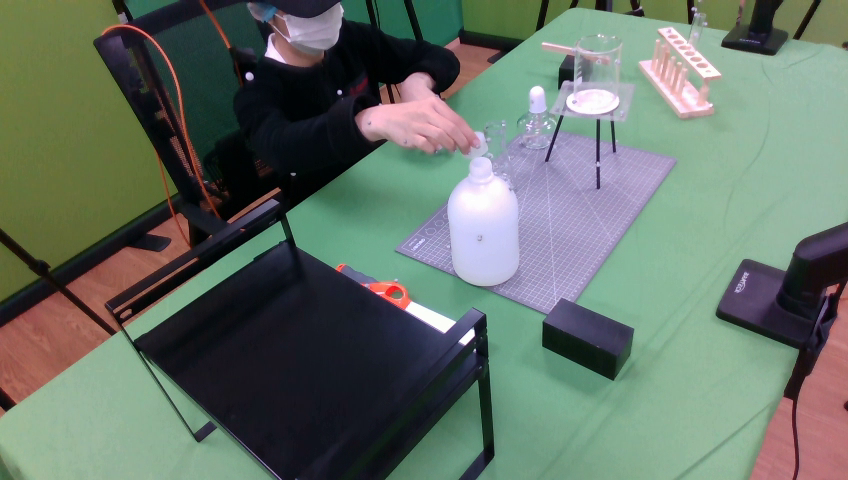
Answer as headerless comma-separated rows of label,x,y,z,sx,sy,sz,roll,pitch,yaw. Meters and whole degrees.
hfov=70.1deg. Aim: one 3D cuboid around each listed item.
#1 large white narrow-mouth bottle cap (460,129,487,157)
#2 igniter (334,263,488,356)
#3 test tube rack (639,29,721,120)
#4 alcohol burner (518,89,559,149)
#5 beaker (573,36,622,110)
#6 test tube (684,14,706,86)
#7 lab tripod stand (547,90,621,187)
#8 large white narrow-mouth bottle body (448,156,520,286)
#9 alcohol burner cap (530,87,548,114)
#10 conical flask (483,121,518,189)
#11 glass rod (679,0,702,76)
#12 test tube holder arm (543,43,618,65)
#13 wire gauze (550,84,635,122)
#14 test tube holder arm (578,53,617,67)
large white narrow-mouth bottle cap,0.065,-0.127,0.791,0.038,0.024,0.037,-4,40,4
igniter,-0.030,0.095,0.872,0.274,0.025,0.057,23,59,31
test tube rack,0.527,-0.351,1.262,0.067,0.085,0.241,-8,40,1
alcohol burner,0.218,-0.235,1.149,0.078,0.119,0.077,-5,43,5
beaker,0.283,-0.273,0.990,0.073,0.101,0.084,16,46,28
test tube,0.540,-0.378,1.215,0.017,0.151,0.017,-2,44,3
lab tripod stand,0.289,-0.184,1.062,0.148,0.132,0.147,-6,41,6
large white narrow-mouth bottle body,0.086,-0.032,0.869,0.102,0.195,0.101,-4,40,4
alcohol burner cap,0.212,-0.262,1.126,0.034,0.048,0.033,-8,36,7
conical flask,0.126,-0.145,1.051,0.075,0.122,0.075,-5,41,4
glass rod,0.543,-0.417,1.233,0.008,0.200,0.008,1,39,0
test tube holder arm,0.345,-0.413,1.341,0.177,0.015,0.013,25,50,32
wire gauze,0.285,-0.234,1.021,0.124,0.011,0.121,8,41,23
test tube holder arm,0.376,-0.393,1.314,0.087,0.015,0.010,26,51,32
